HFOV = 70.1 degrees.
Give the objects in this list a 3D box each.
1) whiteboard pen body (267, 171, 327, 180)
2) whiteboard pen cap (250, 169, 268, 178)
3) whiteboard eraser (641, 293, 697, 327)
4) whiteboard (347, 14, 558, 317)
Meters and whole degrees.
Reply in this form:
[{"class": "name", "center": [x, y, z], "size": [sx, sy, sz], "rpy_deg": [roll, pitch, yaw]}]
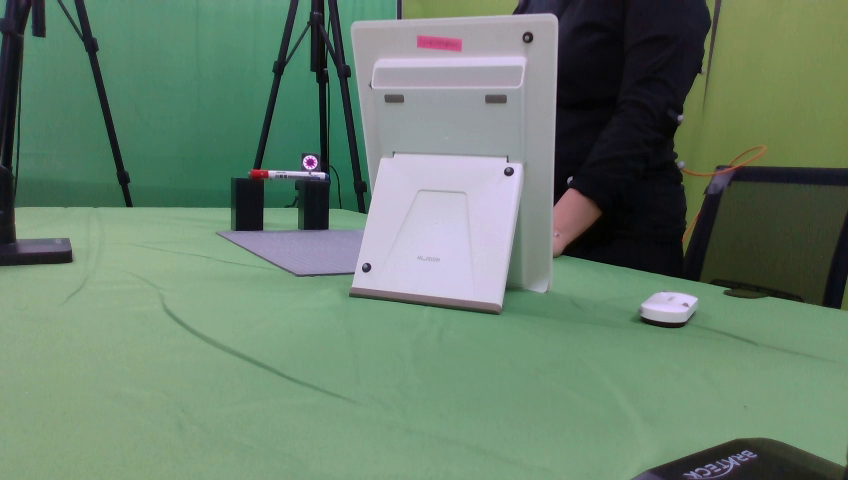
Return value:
[{"class": "whiteboard pen body", "center": [-0.260, -0.126, 1.181], "size": [0.141, 0.017, 0.017], "rpy_deg": [-2, 8, -26]}, {"class": "whiteboard pen cap", "center": [-0.315, -0.127, 1.155], "size": [0.032, 0.017, 0.017], "rpy_deg": [1, 7, -24]}, {"class": "whiteboard eraser", "center": [0.240, 0.066, 0.590], "size": [0.041, 0.019, 0.102], "rpy_deg": [6, 7, 31]}, {"class": "whiteboard", "center": [0.012, -0.056, 0.609], "size": [0.216, 0.305, 0.144], "rpy_deg": [5, 27, 20]}]
